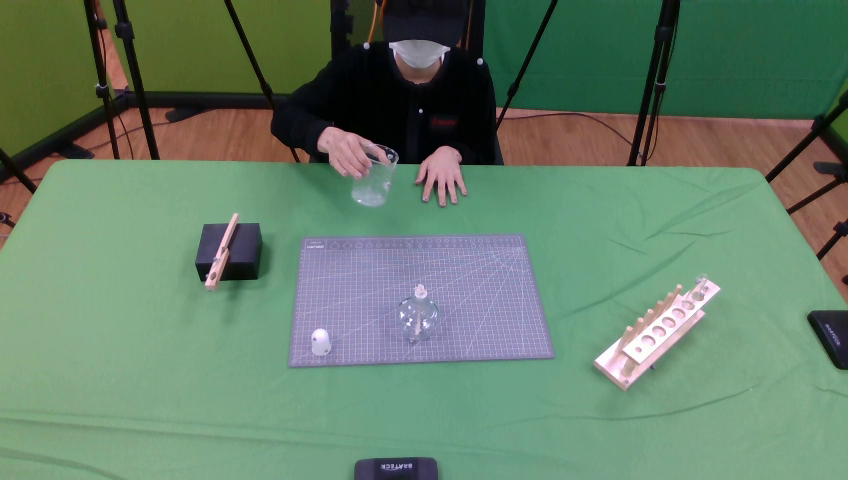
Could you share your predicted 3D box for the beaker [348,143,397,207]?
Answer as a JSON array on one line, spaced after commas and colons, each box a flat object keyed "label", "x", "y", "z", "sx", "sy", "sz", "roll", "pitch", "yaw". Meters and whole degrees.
[{"label": "beaker", "x": -0.096, "y": -0.116, "z": 1.120, "sx": 0.074, "sy": 0.100, "sz": 0.083, "roll": -16, "pitch": 47, "yaw": -42}]

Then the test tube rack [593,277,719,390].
[{"label": "test tube rack", "x": 0.401, "y": 0.148, "z": 1.043, "sx": 0.242, "sy": 0.085, "sz": 0.066, "roll": -30, "pitch": 55, "yaw": -29}]

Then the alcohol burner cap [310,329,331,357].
[{"label": "alcohol burner cap", "x": -0.173, "y": 0.168, "z": 1.005, "sx": 0.034, "sy": 0.048, "sz": 0.033, "roll": 2, "pitch": 46, "yaw": -2}]

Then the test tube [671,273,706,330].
[{"label": "test tube", "x": 0.443, "y": 0.106, "z": 1.018, "sx": 0.017, "sy": 0.151, "sz": 0.017, "roll": -1, "pitch": 49, "yaw": 1}]

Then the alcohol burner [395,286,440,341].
[{"label": "alcohol burner", "x": -0.010, "y": 0.116, "z": 1.018, "sx": 0.078, "sy": 0.119, "sz": 0.077, "roll": 3, "pitch": 47, "yaw": -3}]

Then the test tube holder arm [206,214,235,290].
[{"label": "test tube holder arm", "x": -0.364, "y": 0.017, "z": 1.090, "sx": 0.013, "sy": 0.015, "sz": 0.177, "roll": 7, "pitch": 45, "yaw": -8}]

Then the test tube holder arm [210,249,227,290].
[{"label": "test tube holder arm", "x": -0.359, "y": 0.050, "z": 1.059, "sx": 0.010, "sy": 0.015, "sz": 0.087, "roll": 8, "pitch": 45, "yaw": -8}]
